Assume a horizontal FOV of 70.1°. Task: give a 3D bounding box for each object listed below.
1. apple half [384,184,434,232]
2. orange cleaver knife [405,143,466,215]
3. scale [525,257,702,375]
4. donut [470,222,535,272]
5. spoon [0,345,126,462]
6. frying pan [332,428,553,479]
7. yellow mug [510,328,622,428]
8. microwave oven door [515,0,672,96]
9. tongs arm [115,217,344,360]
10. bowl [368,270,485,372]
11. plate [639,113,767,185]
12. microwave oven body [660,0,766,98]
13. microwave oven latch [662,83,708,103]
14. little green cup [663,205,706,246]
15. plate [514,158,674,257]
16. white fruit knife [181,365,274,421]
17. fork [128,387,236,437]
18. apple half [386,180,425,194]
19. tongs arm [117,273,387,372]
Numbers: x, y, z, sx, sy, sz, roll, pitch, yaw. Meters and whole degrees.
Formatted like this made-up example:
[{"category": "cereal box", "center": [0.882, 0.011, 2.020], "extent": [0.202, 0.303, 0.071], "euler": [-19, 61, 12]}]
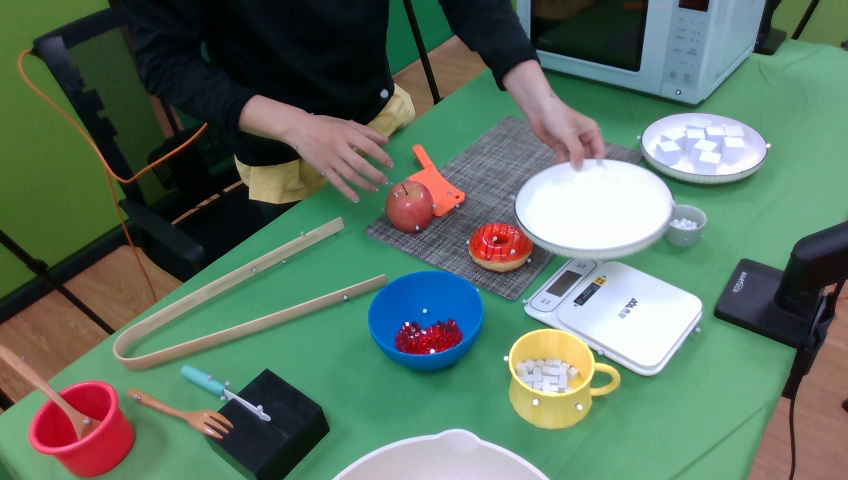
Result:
[{"category": "apple half", "center": [-0.022, -0.046, 0.987], "extent": [0.081, 0.075, 0.053], "euler": [-8, 43, -5]}, {"category": "orange cleaver knife", "center": [0.005, -0.113, 1.102], "extent": [0.077, 0.012, 0.209], "euler": [-23, 45, -10]}, {"category": "scale", "center": [0.254, 0.091, 0.821], "extent": [0.199, 0.032, 0.149], "euler": [28, 51, 35]}, {"category": "donut", "center": [0.119, 0.009, 0.923], "extent": [0.099, 0.048, 0.098], "euler": [-5, 38, 4]}, {"category": "spoon", "center": [-0.434, 0.192, 0.720], "extent": [0.194, 0.021, 0.042], "euler": [47, 53, -7]}, {"category": "frying pan", "center": [-0.089, 0.306, 0.564], "extent": [0.487, 0.103, 0.306], "euler": [10, 41, 7]}, {"category": "yellow mug", "center": [0.168, 0.164, 0.722], "extent": [0.130, 0.064, 0.099], "euler": [0, 40, 8]}, {"category": "microwave oven door", "center": [0.343, -0.455, 1.259], "extent": [0.353, 0.245, 0.039], "euler": [26, 51, 33]}, {"category": "tongs arm", "center": [-0.280, 0.068, 0.927], "extent": [0.386, 0.026, 0.050], "euler": [-29, 49, -23]}, {"category": "bowl", "center": [0.007, 0.118, 0.791], "extent": [0.151, 0.077, 0.150], "euler": [-4, 40, 4]}, {"category": "plate", "center": [0.489, -0.157, 1.074], "extent": [0.207, 0.039, 0.206], "euler": [-4, 40, 4]}, {"category": "microwave oven body", "center": [0.472, -0.513, 1.317], "extent": [0.438, 0.261, 0.327], "euler": [26, 51, 34]}, {"category": "microwave oven latch", "center": [0.518, -0.296, 1.204], "extent": [0.078, 0.029, 0.030], "euler": [28, 52, 35]}, {"category": "little green cup", "center": [0.396, -0.021, 0.927], "extent": [0.061, 0.039, 0.061], "euler": [-4, 41, 4]}, {"category": "plate", "center": [0.230, -0.042, 0.828], "extent": [0.209, 0.038, 0.208], "euler": [-7, 39, 6]}, {"category": "white fruit knife", "center": [-0.245, 0.187, 0.747], "extent": [0.205, 0.027, 0.016], "euler": [9, 41, 40]}, {"category": "fork", "center": [-0.305, 0.207, 0.744], "extent": [0.206, 0.019, 0.028], "euler": [3, 41, 36]}, {"category": "apple half", "center": [-0.028, -0.072, 1.015], "extent": [0.081, 0.081, 0.032], "euler": [-10, 44, -3]}, {"category": "tongs arm", "center": [-0.237, 0.116, 0.871], "extent": [0.389, 0.028, 0.028], "euler": [-18, 49, -12]}]
